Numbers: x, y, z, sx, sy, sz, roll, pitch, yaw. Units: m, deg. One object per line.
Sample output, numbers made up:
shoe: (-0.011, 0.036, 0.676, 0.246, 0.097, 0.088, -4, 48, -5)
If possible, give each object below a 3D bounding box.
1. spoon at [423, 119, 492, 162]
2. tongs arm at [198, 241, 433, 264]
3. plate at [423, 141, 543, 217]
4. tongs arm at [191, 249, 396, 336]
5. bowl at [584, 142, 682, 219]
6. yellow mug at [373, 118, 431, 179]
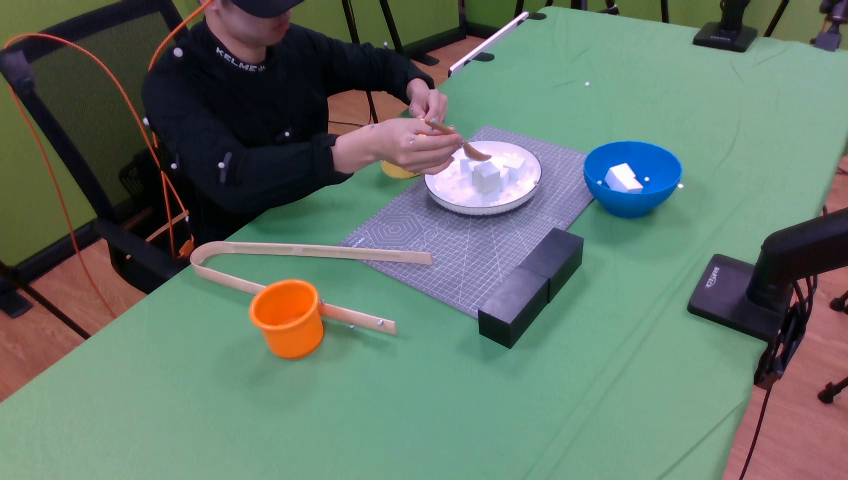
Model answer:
spoon: (0.049, -0.148, 0.904, 0.041, 0.195, 0.021, 10, 83, 33)
tongs arm: (-0.176, 0.022, 0.959, 0.386, 0.028, 0.028, 2, 46, 12)
plate: (0.103, -0.104, 1.059, 0.207, 0.039, 0.206, -4, 40, 4)
tongs arm: (-0.203, 0.073, 0.902, 0.382, 0.026, 0.051, 11, 45, 22)
bowl: (0.333, -0.087, 0.980, 0.151, 0.077, 0.150, -4, 40, 3)
yellow mug: (-0.030, -0.182, 1.141, 0.099, 0.064, 0.131, 25, 57, 29)
